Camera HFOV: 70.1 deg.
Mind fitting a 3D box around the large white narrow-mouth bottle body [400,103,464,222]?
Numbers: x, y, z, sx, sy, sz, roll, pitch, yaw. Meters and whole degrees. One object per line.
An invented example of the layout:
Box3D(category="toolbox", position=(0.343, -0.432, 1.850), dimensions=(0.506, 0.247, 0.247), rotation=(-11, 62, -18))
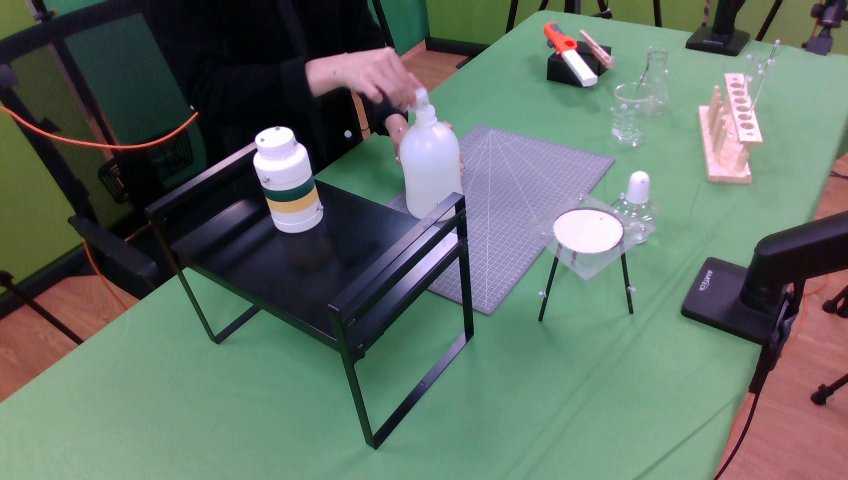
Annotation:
Box3D(category="large white narrow-mouth bottle body", position=(0.011, -0.131, 0.993), dimensions=(0.102, 0.195, 0.101), rotation=(-5, 39, 4))

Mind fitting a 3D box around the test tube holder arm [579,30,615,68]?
Box3D(category="test tube holder arm", position=(0.383, -0.428, 1.351), dimensions=(0.013, 0.015, 0.177), rotation=(-11, 42, -3))

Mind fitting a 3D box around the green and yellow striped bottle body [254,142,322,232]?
Box3D(category="green and yellow striped bottle body", position=(-0.165, -0.073, 0.732), dimensions=(0.063, 0.120, 0.063), rotation=(-4, 41, 4))

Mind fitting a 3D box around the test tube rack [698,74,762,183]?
Box3D(category="test tube rack", position=(0.547, -0.208, 1.095), dimensions=(0.066, 0.085, 0.242), rotation=(5, 42, 15))

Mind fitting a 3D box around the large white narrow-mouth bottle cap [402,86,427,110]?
Box3D(category="large white narrow-mouth bottle cap", position=(-0.014, -0.210, 0.894), dimensions=(0.038, 0.024, 0.037), rotation=(-5, 39, 4))

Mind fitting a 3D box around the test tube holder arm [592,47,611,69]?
Box3D(category="test tube holder arm", position=(0.385, -0.398, 1.317), dimensions=(0.010, 0.015, 0.087), rotation=(-11, 41, -2))

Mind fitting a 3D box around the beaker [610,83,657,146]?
Box3D(category="beaker", position=(0.388, -0.235, 1.138), dimensions=(0.074, 0.101, 0.083), rotation=(-31, 45, -25))

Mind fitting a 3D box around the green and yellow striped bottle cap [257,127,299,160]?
Box3D(category="green and yellow striped bottle cap", position=(-0.169, -0.112, 0.698), dimensions=(0.045, 0.020, 0.045), rotation=(-5, 40, 5))

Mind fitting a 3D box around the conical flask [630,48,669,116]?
Box3D(category="conical flask", position=(0.457, -0.317, 1.205), dimensions=(0.075, 0.122, 0.075), rotation=(-4, 41, 4))

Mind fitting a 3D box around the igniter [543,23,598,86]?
Box3D(category="igniter", position=(0.320, -0.419, 1.345), dimensions=(0.057, 0.025, 0.274), rotation=(-12, 44, -3))

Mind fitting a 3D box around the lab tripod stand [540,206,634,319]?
Box3D(category="lab tripod stand", position=(0.218, 0.034, 0.821), dimensions=(0.148, 0.132, 0.147), rotation=(-4, 42, 4))

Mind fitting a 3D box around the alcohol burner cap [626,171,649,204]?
Box3D(category="alcohol burner cap", position=(0.320, -0.081, 0.900), dimensions=(0.034, 0.048, 0.033), rotation=(-4, 42, 4))

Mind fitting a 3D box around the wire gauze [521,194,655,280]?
Box3D(category="wire gauze", position=(0.207, -0.012, 0.772), dimensions=(0.122, 0.011, 0.124), rotation=(-28, 44, -20))

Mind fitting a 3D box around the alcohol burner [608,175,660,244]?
Box3D(category="alcohol burner", position=(0.322, -0.053, 0.924), dimensions=(0.078, 0.119, 0.077), rotation=(-4, 43, 4))

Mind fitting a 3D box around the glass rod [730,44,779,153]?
Box3D(category="glass rod", position=(0.555, -0.234, 1.021), dimensions=(0.008, 0.200, 0.008), rotation=(2, 40, -1))

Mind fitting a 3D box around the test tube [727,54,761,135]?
Box3D(category="test tube", position=(0.564, -0.254, 1.069), dimensions=(0.017, 0.151, 0.017), rotation=(-1, 40, 1))
